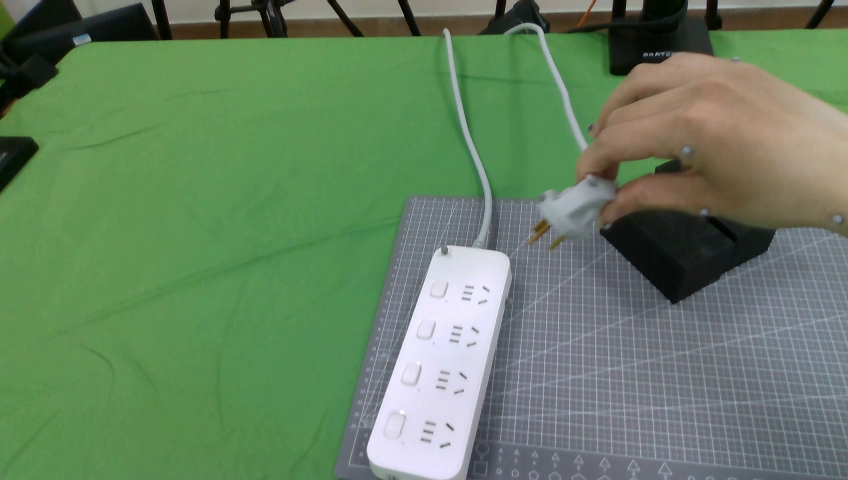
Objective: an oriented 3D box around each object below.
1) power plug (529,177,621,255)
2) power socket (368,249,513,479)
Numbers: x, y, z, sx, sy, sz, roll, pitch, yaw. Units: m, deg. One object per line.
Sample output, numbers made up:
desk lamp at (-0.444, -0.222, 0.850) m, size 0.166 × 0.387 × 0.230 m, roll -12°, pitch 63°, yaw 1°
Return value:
power plug at (0.094, -0.011, 0.362) m, size 0.053 × 0.073 × 0.035 m, roll -47°, pitch 56°, yaw 26°
power socket at (0.019, 0.096, 0.487) m, size 0.072 × 0.033 × 0.225 m, roll 9°, pitch 50°, yaw 14°
